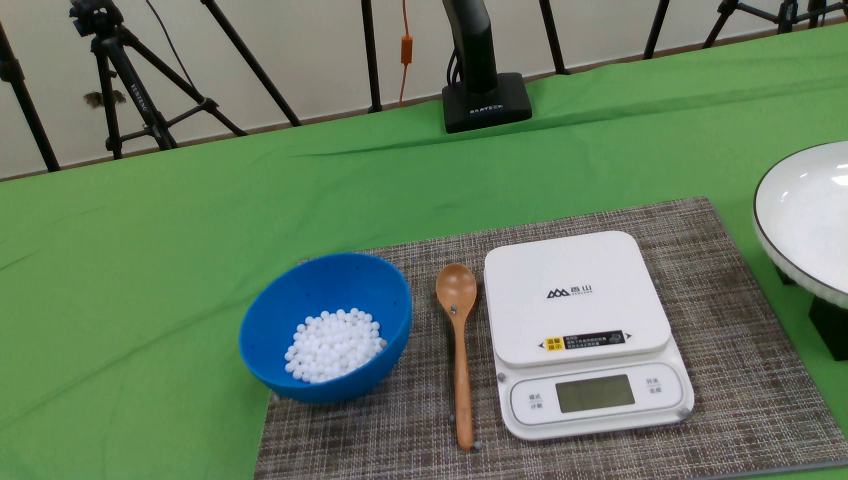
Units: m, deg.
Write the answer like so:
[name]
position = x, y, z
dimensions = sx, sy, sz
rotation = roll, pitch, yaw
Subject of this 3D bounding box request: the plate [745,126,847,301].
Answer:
[plate]
position = 0.366, -0.017, 0.478
dimensions = 0.209, 0.038, 0.207
rotation = -8, 43, 8

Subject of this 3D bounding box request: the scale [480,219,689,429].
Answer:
[scale]
position = 0.130, 0.064, 0.532
dimensions = 0.148, 0.032, 0.199
rotation = -10, 43, 7

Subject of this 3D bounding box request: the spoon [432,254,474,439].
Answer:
[spoon]
position = 0.029, 0.087, 0.544
dimensions = 0.041, 0.022, 0.192
rotation = 3, 43, -3

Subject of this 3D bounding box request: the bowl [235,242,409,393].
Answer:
[bowl]
position = -0.080, 0.081, 0.539
dimensions = 0.151, 0.077, 0.150
rotation = -8, 43, 7
